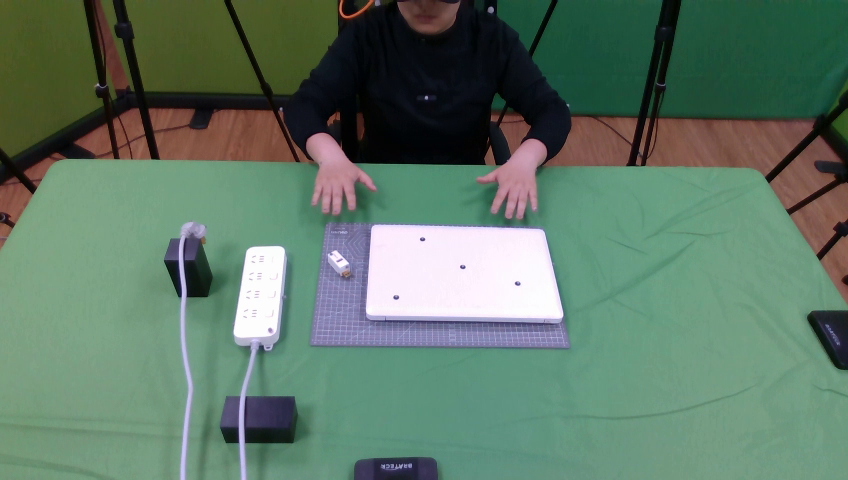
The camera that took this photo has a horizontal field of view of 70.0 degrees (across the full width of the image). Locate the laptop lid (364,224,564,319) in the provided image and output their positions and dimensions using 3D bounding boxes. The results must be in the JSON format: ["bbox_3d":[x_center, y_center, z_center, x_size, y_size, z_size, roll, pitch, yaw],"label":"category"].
[{"bbox_3d":[0.070,0.053,1.138,0.357,0.013,0.240,3,44,-2],"label":"laptop lid"}]

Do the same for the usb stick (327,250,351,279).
[{"bbox_3d":[-0.158,0.047,1.133,0.021,0.027,0.059,-29,58,-27],"label":"usb stick"}]

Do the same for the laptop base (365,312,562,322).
[{"bbox_3d":[0.070,0.063,1.145,0.354,0.023,0.234,1,43,-3],"label":"laptop base"}]

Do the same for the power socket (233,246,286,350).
[{"bbox_3d":[-0.290,0.094,1.077,0.072,0.033,0.225,-2,46,-5],"label":"power socket"}]

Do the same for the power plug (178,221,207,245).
[{"bbox_3d":[-0.413,-0.003,1.069,0.035,0.053,0.072,-1,41,24],"label":"power plug"}]
